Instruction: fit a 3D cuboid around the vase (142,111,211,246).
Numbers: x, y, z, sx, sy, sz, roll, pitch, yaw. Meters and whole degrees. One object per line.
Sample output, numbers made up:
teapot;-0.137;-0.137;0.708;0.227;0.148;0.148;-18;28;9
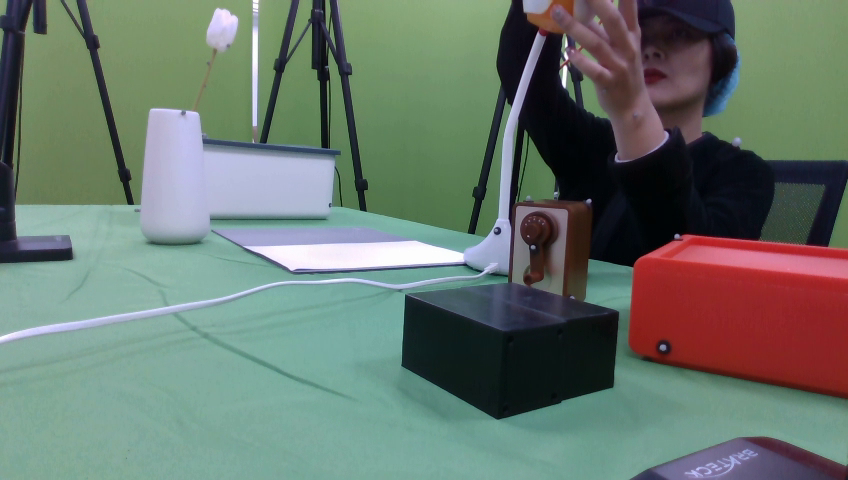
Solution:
vase;-0.378;-0.093;0.920;0.098;0.200;0.098;2;9;0

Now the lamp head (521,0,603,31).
lamp head;0.148;-0.282;0.629;0.112;0.123;0.112;13;18;-4

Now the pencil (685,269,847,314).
pencil;0.308;0.045;0.516;0.194;0.012;0.012;13;5;-11

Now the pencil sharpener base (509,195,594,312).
pencil sharpener base;0.126;0.011;0.601;0.061;0.107;0.077;7;9;30

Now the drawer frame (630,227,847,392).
drawer frame;0.292;0.043;0.484;0.201;0.082;0.214;7;9;29

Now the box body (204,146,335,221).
box body;-0.411;-0.135;1.386;0.366;0.160;0.253;-2;9;-29

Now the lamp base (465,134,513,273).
lamp base;0.132;-0.052;0.808;0.160;0.180;0.180;6;12;26

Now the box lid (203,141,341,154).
box lid;-0.396;-0.212;1.373;0.373;0.015;0.262;-1;9;-29

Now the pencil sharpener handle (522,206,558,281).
pencil sharpener handle;0.102;0.003;0.555;0.036;0.067;0.031;0;5;31

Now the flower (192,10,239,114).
flower;-0.354;-0.174;0.915;0.038;0.361;0.044;18;-3;12

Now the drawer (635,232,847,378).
drawer;0.292;0.045;0.488;0.193;0.073;0.213;7;9;30
